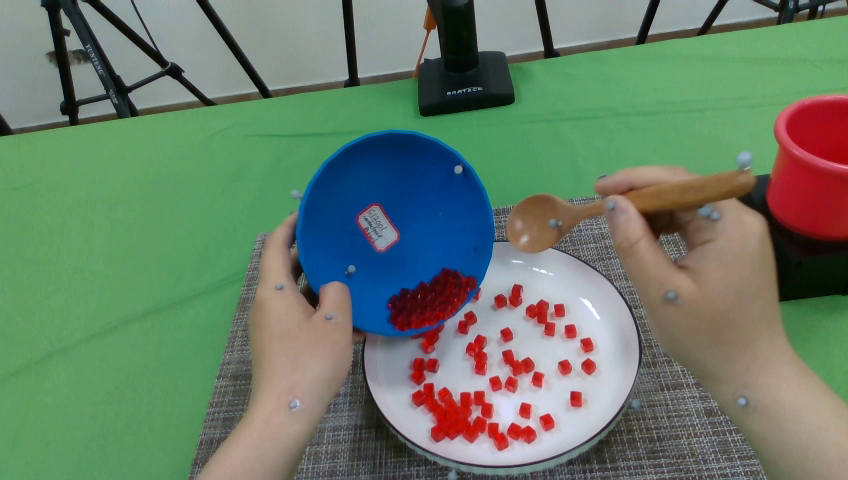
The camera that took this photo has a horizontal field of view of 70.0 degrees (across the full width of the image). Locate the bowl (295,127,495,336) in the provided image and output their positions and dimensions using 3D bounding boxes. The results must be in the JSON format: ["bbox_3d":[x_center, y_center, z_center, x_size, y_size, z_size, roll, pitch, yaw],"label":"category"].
[{"bbox_3d":[-0.029,-0.008,0.469,0.151,0.152,0.076,-27,13,-16],"label":"bowl"}]

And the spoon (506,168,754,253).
[{"bbox_3d":[0.100,-0.017,0.342,0.022,0.193,0.041,5,85,-19],"label":"spoon"}]

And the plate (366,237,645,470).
[{"bbox_3d":[0.060,0.082,0.469,0.207,0.039,0.205,-6,44,6],"label":"plate"}]
